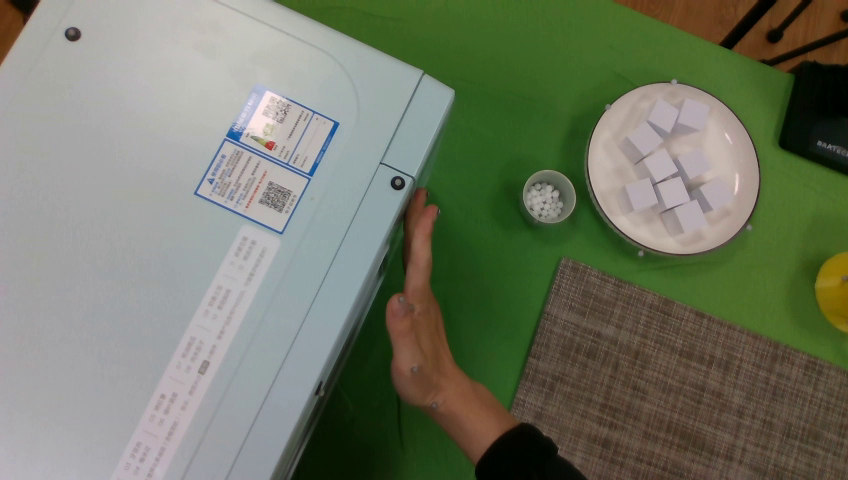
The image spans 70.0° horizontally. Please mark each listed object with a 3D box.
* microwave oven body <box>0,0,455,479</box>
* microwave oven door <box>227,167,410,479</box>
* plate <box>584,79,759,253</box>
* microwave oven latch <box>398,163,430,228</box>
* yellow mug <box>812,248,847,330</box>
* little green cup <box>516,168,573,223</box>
[{"bbox_3d":[-0.220,0.026,0.530,0.326,0.260,0.440,25,80,-1],"label":"microwave oven body"},{"bbox_3d":[-0.106,0.124,0.520,0.039,0.244,0.355,25,79,-1],"label":"microwave oven door"},{"bbox_3d":[0.287,-0.085,0.714,0.208,0.039,0.207,1,81,-5],"label":"plate"},{"bbox_3d":[-0.021,-0.055,0.660,0.030,0.029,0.079,27,80,-1],"label":"microwave oven latch"},{"bbox_3d":[0.518,0.069,0.698,0.100,0.064,0.130,-7,82,-7],"label":"yellow mug"},{"bbox_3d":[0.135,-0.048,0.691,0.061,0.038,0.061,1,82,-6],"label":"little green cup"}]
